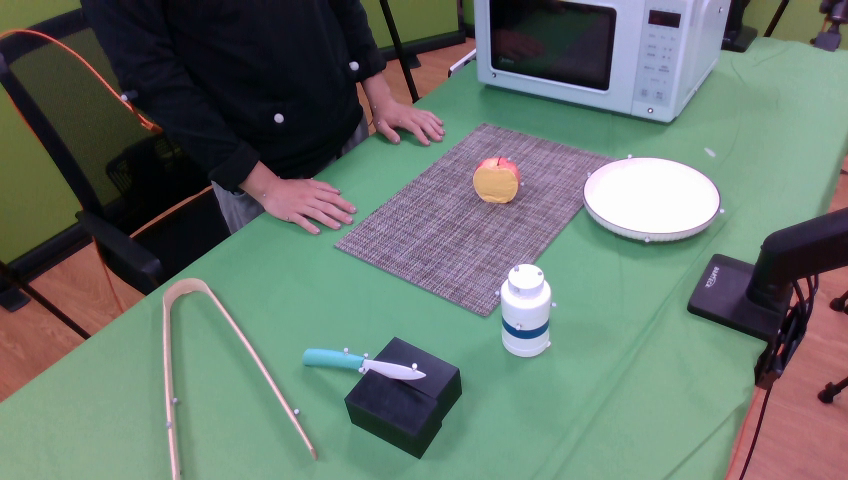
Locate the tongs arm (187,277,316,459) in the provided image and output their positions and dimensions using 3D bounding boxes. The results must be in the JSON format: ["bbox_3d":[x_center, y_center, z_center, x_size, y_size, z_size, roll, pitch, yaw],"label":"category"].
[{"bbox_3d":[-0.241,0.154,0.816,0.028,0.028,0.384,-31,46,-21],"label":"tongs arm"}]

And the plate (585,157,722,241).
[{"bbox_3d":[0.367,-0.063,0.979,0.207,0.039,0.206,-4,41,4],"label":"plate"}]

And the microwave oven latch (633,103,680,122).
[{"bbox_3d":[0.444,-0.249,1.157,0.078,0.029,0.030,21,48,30],"label":"microwave oven latch"}]

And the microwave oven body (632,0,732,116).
[{"bbox_3d":[0.377,-0.462,1.267,0.438,0.261,0.327,21,48,30],"label":"microwave oven body"}]

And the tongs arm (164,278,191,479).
[{"bbox_3d":[-0.313,0.182,0.789,0.051,0.026,0.381,-19,41,-14],"label":"tongs arm"}]

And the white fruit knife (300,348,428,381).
[{"bbox_3d":[-0.079,0.154,0.748,0.206,0.027,0.016,1,20,34],"label":"white fruit knife"}]

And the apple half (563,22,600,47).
[{"bbox_3d":[0.334,-0.447,1.299,0.081,0.033,0.081,-16,36,12],"label":"apple half"}]

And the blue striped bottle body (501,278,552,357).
[{"bbox_3d":[0.130,0.088,0.769,0.063,0.121,0.063,-4,41,4],"label":"blue striped bottle body"}]

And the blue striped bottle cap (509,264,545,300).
[{"bbox_3d":[0.125,0.051,0.735,0.044,0.021,0.044,-6,39,5],"label":"blue striped bottle cap"}]

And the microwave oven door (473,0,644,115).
[{"bbox_3d":[0.257,-0.396,1.199,0.353,0.245,0.039,21,48,29],"label":"microwave oven door"}]

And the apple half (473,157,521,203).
[{"bbox_3d":[0.128,-0.107,1.030,0.080,0.075,0.053,4,38,19],"label":"apple half"}]

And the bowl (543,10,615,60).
[{"bbox_3d":[0.335,-0.439,1.306,0.151,0.077,0.151,-8,30,5],"label":"bowl"}]
